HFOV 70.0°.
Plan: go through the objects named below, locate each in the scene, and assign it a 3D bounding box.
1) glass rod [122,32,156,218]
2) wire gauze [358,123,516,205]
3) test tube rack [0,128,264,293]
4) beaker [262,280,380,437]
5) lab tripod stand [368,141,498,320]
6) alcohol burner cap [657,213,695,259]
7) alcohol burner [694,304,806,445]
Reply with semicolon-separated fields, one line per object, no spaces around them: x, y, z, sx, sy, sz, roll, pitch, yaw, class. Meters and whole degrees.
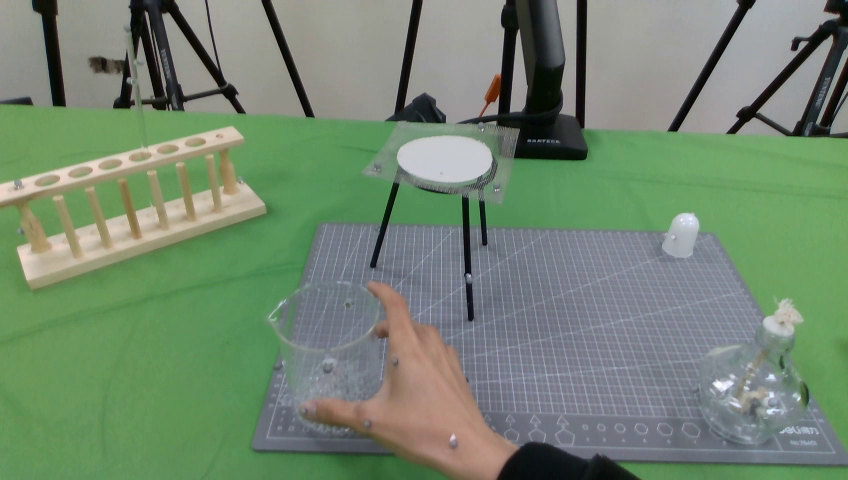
-0.294;-0.112;0.628;0.008;0.201;0.008;5;30;-2;glass rod
0.015;-0.076;0.544;0.125;0.011;0.120;9;38;11;wire gauze
-0.302;-0.038;0.639;0.243;0.086;0.066;-22;43;-29;test tube rack
-0.074;0.092;0.456;0.084;0.101;0.073;0;37;-1;beaker
0.015;-0.016;0.576;0.148;0.132;0.147;0;38;0;lab tripod stand
0.272;-0.007;0.651;0.034;0.048;0.033;1;37;-1;alcohol burner cap
0.247;0.095;0.451;0.078;0.120;0.077;1;35;-1;alcohol burner
